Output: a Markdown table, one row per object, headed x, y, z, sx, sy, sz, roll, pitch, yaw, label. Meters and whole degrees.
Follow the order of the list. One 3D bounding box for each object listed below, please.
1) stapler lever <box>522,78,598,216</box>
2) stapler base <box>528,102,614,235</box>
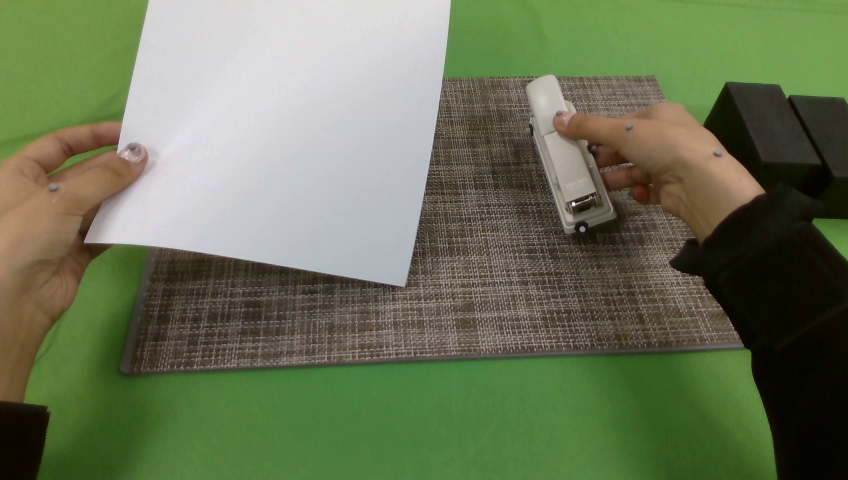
| x | y | z | sx | sy | sz | roll | pitch | yaw | label |
| --- | --- | --- | --- | --- | --- | --- | --- | --- | --- |
| 0.104 | -0.076 | 0.470 | 0.027 | 0.040 | 0.117 | -23 | 55 | 18 | stapler lever |
| 0.114 | -0.066 | 0.490 | 0.041 | 0.025 | 0.129 | -23 | 56 | 18 | stapler base |
